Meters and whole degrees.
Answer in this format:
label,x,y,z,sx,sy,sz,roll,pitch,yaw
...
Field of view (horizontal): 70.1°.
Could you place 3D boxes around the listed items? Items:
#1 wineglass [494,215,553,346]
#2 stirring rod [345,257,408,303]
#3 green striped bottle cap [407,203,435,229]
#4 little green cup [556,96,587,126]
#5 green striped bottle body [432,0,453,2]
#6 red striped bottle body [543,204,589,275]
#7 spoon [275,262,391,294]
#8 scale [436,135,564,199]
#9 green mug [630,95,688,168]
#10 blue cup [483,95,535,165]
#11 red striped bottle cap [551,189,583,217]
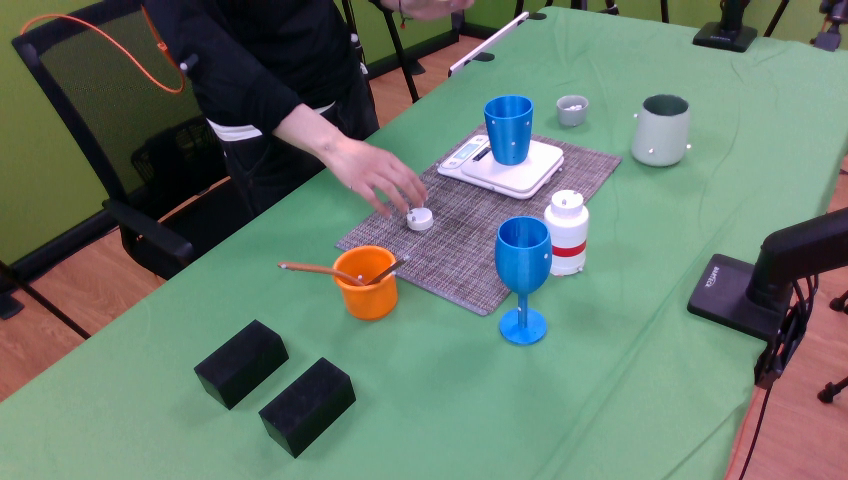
label,x,y,z,sx,sy,sz,roll,pitch,yaw
wineglass,0.127,0.055,0.770,0.074,0.173,0.073,-4,40,4
stirring rod,-0.067,0.056,0.815,0.014,0.175,0.006,-23,81,-38
green striped bottle cap,-0.005,-0.040,1.009,0.044,0.020,0.044,-16,44,17
little green cup,0.295,-0.258,1.214,0.061,0.039,0.061,-4,42,4
green striped bottle body,0.028,-0.437,0.933,0.063,0.120,0.063,-6,46,6
red striped bottle body,0.205,-0.011,0.878,0.063,0.120,0.062,-5,41,4
spoon,-0.120,0.050,0.830,0.041,0.195,0.021,30,96,45
scale,0.137,-0.142,1.101,0.199,0.032,0.149,22,48,30
green mug,0.421,-0.201,1.081,0.092,0.105,0.125,5,42,15
blue cup,0.148,-0.188,1.052,0.092,0.100,0.092,-5,39,5
red striped bottle cap,0.199,-0.052,0.843,0.044,0.018,0.044,-2,42,2
